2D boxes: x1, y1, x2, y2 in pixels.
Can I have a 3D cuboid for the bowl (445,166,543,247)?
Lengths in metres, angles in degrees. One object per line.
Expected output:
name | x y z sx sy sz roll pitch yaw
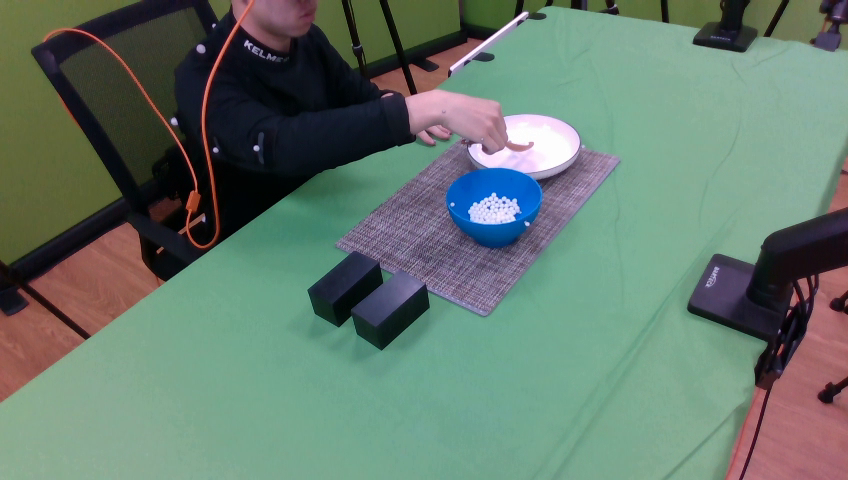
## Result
bowl | 0.112 -0.042 0.952 0.151 0.077 0.150 -4 41 4

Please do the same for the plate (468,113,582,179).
plate | 0.186 -0.169 1.122 0.207 0.039 0.206 -4 41 4

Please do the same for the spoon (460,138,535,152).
spoon | 0.126 -0.166 1.038 0.041 0.021 0.195 6 6 44
